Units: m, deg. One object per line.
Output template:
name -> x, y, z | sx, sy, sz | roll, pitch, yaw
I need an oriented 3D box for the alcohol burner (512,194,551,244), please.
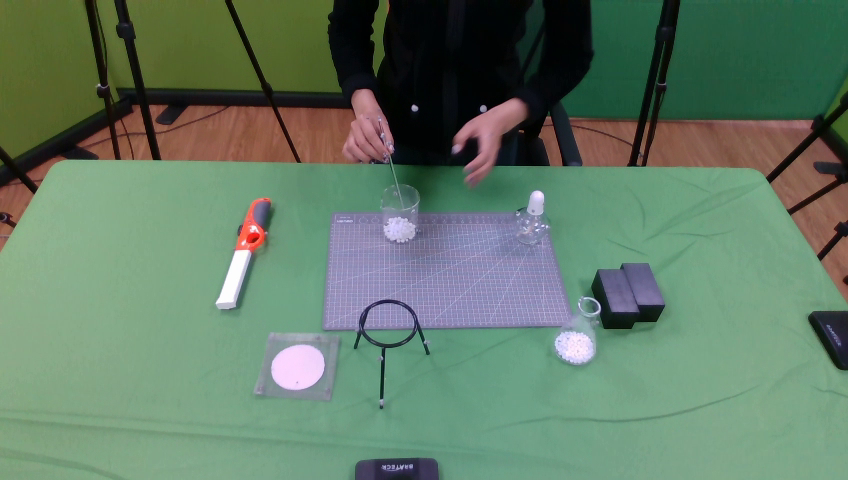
alcohol burner -> 0.215, -0.048, 1.196 | 0.078, 0.119, 0.077 | 4, 46, -4

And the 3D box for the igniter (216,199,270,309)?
igniter -> -0.341, 0.016, 1.153 | 0.057, 0.025, 0.275 | -3, 45, 7

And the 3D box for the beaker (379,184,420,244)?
beaker -> -0.051, -0.047, 1.184 | 0.084, 0.101, 0.073 | -27, 53, -26

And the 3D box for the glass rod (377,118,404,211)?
glass rod -> -0.059, -0.132, 1.102 | 0.008, 0.201, 0.008 | -8, 39, 7

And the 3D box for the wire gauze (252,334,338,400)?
wire gauze -> -0.209, 0.204, 0.996 | 0.125, 0.011, 0.120 | 3, 45, 1

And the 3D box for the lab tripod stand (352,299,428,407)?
lab tripod stand -> -0.056, 0.166, 0.958 | 0.148, 0.132, 0.147 | 3, 44, -2

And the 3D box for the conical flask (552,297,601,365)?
conical flask -> 0.261, 0.147, 1.009 | 0.075, 0.122, 0.075 | 2, 46, -2

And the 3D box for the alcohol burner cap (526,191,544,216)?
alcohol burner cap -> 0.216, -0.073, 1.170 | 0.034, 0.048, 0.033 | 0, 42, 0
